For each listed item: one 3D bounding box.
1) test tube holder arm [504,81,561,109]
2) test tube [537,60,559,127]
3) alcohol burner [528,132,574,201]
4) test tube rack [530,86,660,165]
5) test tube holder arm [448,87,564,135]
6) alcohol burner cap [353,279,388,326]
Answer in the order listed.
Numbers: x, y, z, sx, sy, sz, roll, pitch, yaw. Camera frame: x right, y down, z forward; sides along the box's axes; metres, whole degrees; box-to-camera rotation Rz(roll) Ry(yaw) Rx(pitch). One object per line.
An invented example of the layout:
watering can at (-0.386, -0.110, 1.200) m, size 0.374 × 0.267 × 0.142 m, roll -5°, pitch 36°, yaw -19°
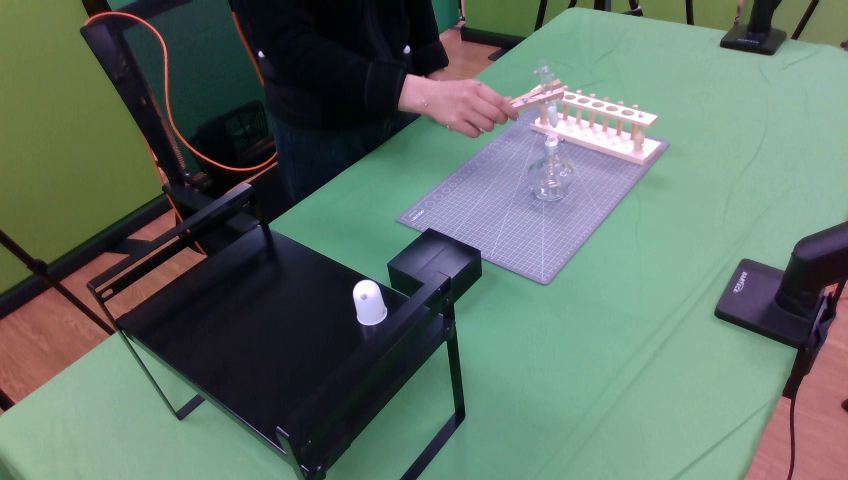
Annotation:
test tube holder arm at (0.161, -0.212, 0.898) m, size 0.088 × 0.015 × 0.010 m, roll -24°, pitch 57°, yaw 7°
test tube at (0.186, -0.214, 0.898) m, size 0.017 × 0.151 × 0.017 m, roll -7°, pitch 65°, yaw 16°
alcohol burner at (0.214, -0.126, 1.016) m, size 0.078 × 0.119 × 0.077 m, roll -5°, pitch 39°, yaw 5°
test tube rack at (0.320, -0.226, 1.140) m, size 0.240 × 0.085 × 0.067 m, roll 27°, pitch 51°, yaw 34°
test tube holder arm at (0.121, -0.192, 0.903) m, size 0.178 × 0.015 × 0.013 m, roll -18°, pitch 57°, yaw 11°
alcohol burner cap at (-0.056, 0.061, 0.616) m, size 0.034 × 0.048 × 0.033 m, roll -4°, pitch 41°, yaw 4°
